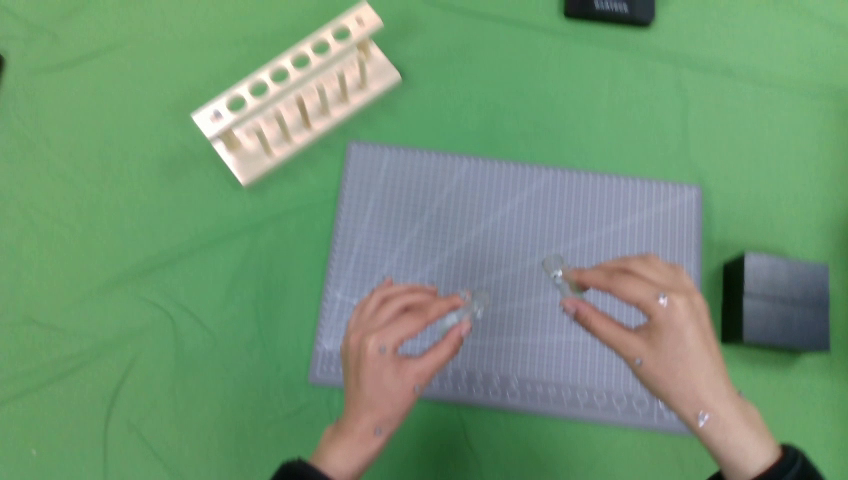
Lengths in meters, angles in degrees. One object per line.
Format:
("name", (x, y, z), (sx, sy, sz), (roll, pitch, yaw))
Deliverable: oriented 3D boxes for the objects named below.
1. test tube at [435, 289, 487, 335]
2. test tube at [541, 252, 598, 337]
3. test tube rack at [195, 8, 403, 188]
("test tube", (0.029, 0.066, 0.529), (0.017, 0.150, 0.017), (3, 73, -9))
("test tube", (0.119, 0.048, 0.485), (0.017, 0.152, 0.017), (-12, 59, 21))
("test tube rack", (-0.142, -0.170, 0.732), (0.242, 0.085, 0.066), (-36, 79, -10))
